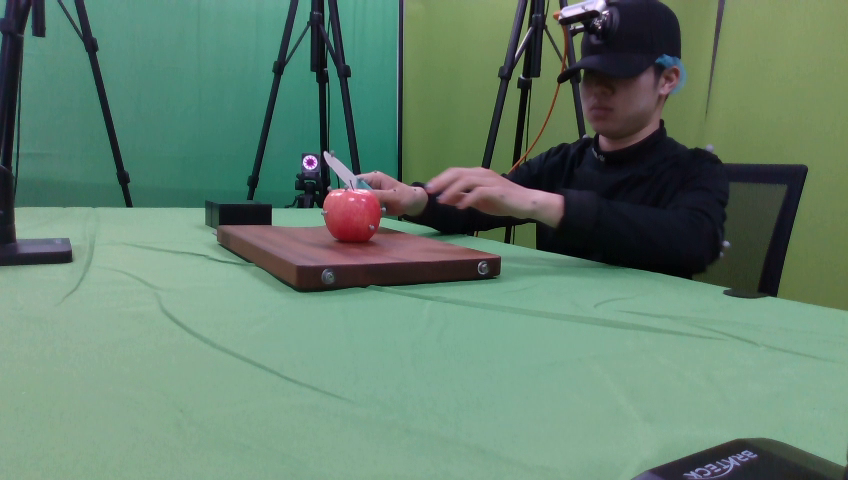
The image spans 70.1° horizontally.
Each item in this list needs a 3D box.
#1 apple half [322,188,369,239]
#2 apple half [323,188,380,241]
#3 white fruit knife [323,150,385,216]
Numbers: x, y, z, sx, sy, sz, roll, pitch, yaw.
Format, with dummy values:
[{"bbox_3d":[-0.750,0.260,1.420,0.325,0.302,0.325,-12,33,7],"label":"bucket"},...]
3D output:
[{"bbox_3d":[-0.119,-0.040,0.868,0.082,0.081,0.032,-4,14,-40],"label":"apple half"},{"bbox_3d":[-0.093,-0.034,0.839,0.081,0.074,0.053,1,11,-41],"label":"apple half"},{"bbox_3d":[-0.107,-0.089,0.950,0.016,0.027,0.208,8,-18,24],"label":"white fruit knife"}]
